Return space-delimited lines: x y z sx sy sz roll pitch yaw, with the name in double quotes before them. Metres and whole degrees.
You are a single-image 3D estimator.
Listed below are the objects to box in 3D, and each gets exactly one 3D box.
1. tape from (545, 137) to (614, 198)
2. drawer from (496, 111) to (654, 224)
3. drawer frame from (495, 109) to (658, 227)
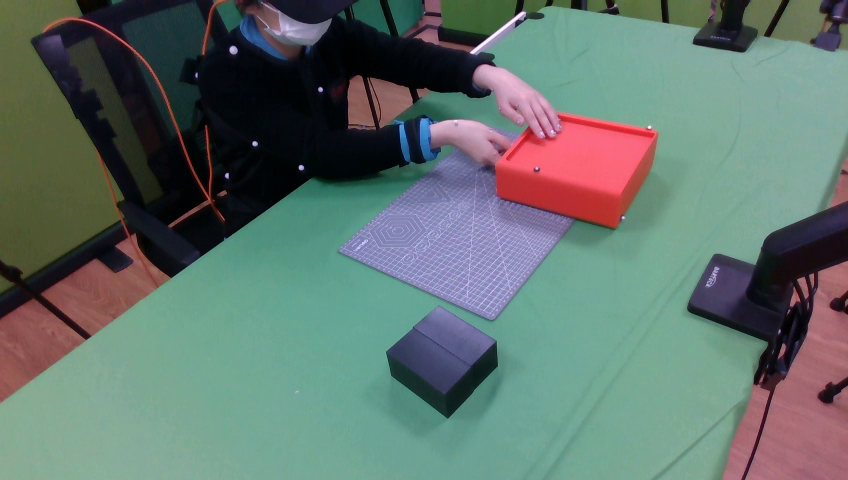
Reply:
"tape" 0.264 -0.125 1.036 0.117 0.053 0.116 -4 40 4
"drawer" 0.257 -0.130 1.032 0.210 0.073 0.195 18 46 26
"drawer frame" 0.260 -0.130 1.031 0.212 0.083 0.202 18 46 26
